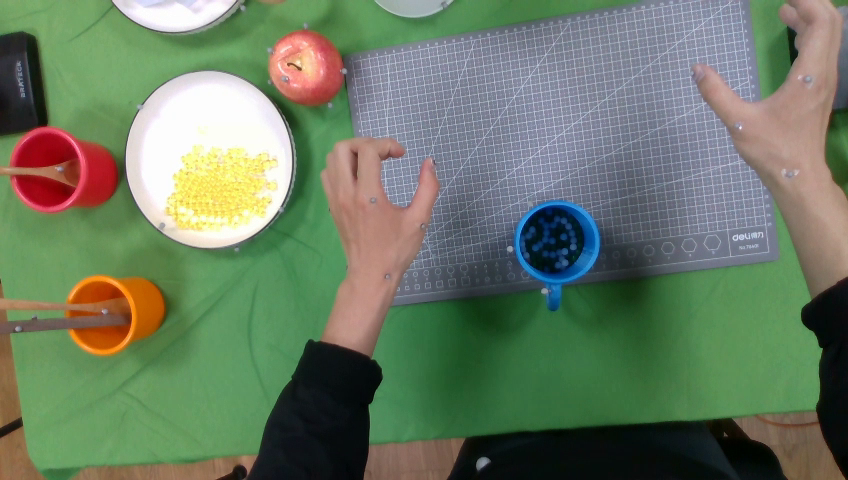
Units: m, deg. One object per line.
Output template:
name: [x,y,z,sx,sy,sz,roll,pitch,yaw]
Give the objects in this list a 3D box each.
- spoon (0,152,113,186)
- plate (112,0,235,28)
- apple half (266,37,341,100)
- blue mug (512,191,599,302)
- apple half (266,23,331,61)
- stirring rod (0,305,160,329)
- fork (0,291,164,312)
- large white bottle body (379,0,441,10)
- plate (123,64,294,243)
spoon: [-0.467,-0.084,0.696,0.195,0.021,0.041,-3,92,-36]
plate: [-0.288,-0.352,0.709,0.207,0.039,0.207,0,94,7]
apple half: [-0.129,-0.186,0.682,0.081,0.074,0.053,-22,94,5]
blue mug: [0.135,0.008,0.641,0.082,0.106,0.116,1,93,8]
apple half: [-0.144,-0.222,0.680,0.081,0.081,0.033,-23,95,8]
stirring rod: [-0.399,0.088,0.697,0.177,0.006,0.014,-2,81,-33]
fork: [-0.410,0.070,0.695,0.209,0.018,0.028,7,94,-36]
large white bottle body: [-0.025,-0.322,0.603,0.130,0.185,0.130,0,92,8]
plate: [-0.251,-0.101,0.720,0.209,0.038,0.209,0,94,8]
